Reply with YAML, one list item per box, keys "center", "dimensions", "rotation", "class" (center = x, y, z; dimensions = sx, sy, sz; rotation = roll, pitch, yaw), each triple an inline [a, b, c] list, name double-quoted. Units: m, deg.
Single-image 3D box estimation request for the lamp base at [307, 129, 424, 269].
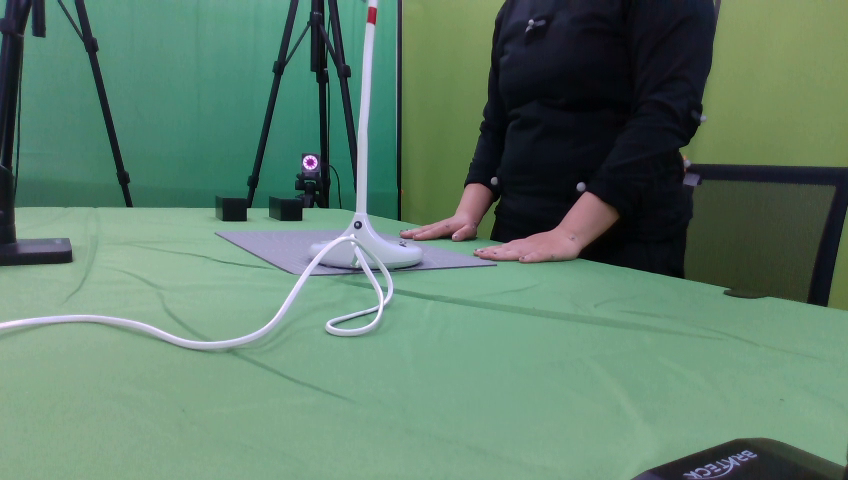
- center: [-0.076, -0.057, 0.811]
  dimensions: [0.161, 0.180, 0.179]
  rotation: [2, 10, -4]
  class: "lamp base"
